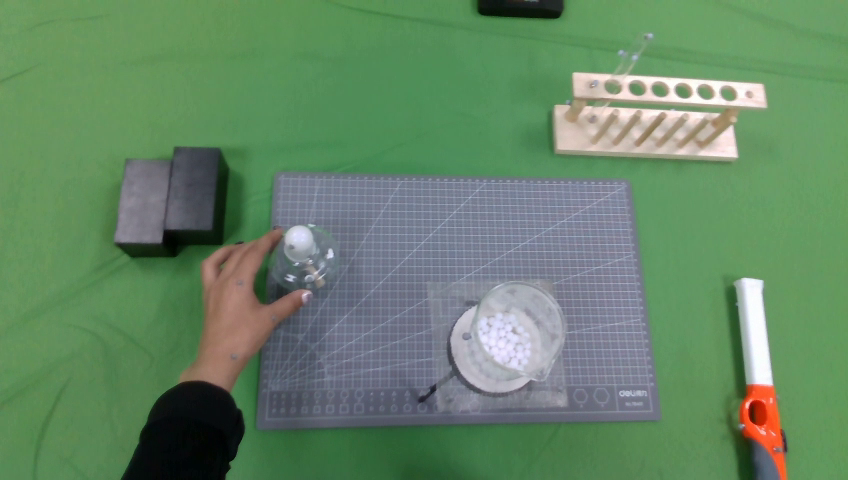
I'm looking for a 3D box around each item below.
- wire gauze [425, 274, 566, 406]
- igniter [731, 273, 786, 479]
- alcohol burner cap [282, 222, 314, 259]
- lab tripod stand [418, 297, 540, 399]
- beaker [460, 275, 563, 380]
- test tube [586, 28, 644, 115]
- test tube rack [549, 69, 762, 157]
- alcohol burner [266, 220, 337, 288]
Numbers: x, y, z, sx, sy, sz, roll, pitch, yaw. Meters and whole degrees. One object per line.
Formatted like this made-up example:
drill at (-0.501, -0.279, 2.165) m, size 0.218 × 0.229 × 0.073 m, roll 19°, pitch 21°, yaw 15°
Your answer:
wire gauze at (0.066, 0.092, 0.568) m, size 0.125 × 0.011 × 0.120 m, roll -2°, pitch 70°, yaw -4°
igniter at (0.387, 0.173, 0.703) m, size 0.057 × 0.025 × 0.275 m, roll 8°, pitch 71°, yaw -13°
alcohol burner cap at (-0.129, -0.001, 0.619) m, size 0.034 × 0.048 × 0.033 m, roll 3°, pitch 75°, yaw -9°
lab tripod stand at (0.058, 0.115, 0.629) m, size 0.148 × 0.132 × 0.147 m, roll 1°, pitch 71°, yaw -3°
beaker at (0.072, 0.083, 0.520) m, size 0.074 × 0.101 × 0.083 m, roll -22°, pitch 74°, yaw -11°
test tube at (0.223, -0.195, 0.722) m, size 0.017 × 0.151 × 0.017 m, roll 2°, pitch 67°, yaw -5°
test tube rack at (0.291, -0.159, 0.770) m, size 0.243 × 0.085 × 0.066 m, roll 2°, pitch 72°, yaw -5°
alcohol burner at (-0.134, 0.010, 0.653) m, size 0.078 × 0.119 × 0.077 m, roll 2°, pitch 69°, yaw -4°
